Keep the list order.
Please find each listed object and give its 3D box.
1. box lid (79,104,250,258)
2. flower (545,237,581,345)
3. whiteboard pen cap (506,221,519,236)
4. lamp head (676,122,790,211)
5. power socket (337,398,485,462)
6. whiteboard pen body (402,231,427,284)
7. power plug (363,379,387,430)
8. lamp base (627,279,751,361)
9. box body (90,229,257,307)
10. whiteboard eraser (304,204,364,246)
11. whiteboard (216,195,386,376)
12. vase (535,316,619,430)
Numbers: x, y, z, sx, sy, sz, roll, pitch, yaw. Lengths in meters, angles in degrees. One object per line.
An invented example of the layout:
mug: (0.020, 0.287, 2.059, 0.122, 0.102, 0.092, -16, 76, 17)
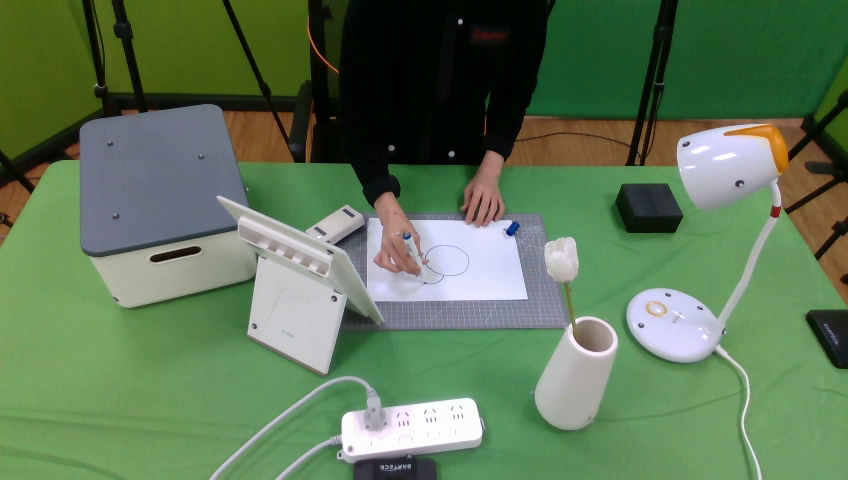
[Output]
box lid: (-0.467, -0.120, 1.075, 0.264, 0.015, 0.369, -13, 49, -17)
flower: (0.213, 0.137, 0.846, 0.038, 0.364, 0.044, 22, 55, 40)
whiteboard pen cap: (0.179, -0.023, 1.233, 0.018, 0.018, 0.033, 27, 52, 20)
lamp head: (0.423, -0.104, 0.819, 0.122, 0.113, 0.112, -13, 33, 40)
power socket: (-0.018, 0.285, 0.914, 0.227, 0.033, 0.071, -4, 46, -8)
whiteboard pen body: (-0.014, 0.035, 1.080, 0.017, 0.141, 0.017, -10, 47, 11)
power plug: (-0.072, 0.252, 0.911, 0.035, 0.053, 0.072, 3, 40, 0)
lamp base: (0.460, 0.100, 1.027, 0.178, 0.181, 0.160, 27, 51, 17)
box body: (-0.471, -0.070, 1.131, 0.254, 0.161, 0.361, -14, 49, -17)
whiteboard eraser: (-0.175, -0.022, 1.188, 0.055, 0.042, 0.112, 36, 53, 26)
whiteboard: (-0.212, 0.093, 0.939, 0.216, 0.307, 0.143, 24, 70, 17)
vase: (0.229, 0.200, 0.901, 0.098, 0.201, 0.097, 3, 46, -3)
